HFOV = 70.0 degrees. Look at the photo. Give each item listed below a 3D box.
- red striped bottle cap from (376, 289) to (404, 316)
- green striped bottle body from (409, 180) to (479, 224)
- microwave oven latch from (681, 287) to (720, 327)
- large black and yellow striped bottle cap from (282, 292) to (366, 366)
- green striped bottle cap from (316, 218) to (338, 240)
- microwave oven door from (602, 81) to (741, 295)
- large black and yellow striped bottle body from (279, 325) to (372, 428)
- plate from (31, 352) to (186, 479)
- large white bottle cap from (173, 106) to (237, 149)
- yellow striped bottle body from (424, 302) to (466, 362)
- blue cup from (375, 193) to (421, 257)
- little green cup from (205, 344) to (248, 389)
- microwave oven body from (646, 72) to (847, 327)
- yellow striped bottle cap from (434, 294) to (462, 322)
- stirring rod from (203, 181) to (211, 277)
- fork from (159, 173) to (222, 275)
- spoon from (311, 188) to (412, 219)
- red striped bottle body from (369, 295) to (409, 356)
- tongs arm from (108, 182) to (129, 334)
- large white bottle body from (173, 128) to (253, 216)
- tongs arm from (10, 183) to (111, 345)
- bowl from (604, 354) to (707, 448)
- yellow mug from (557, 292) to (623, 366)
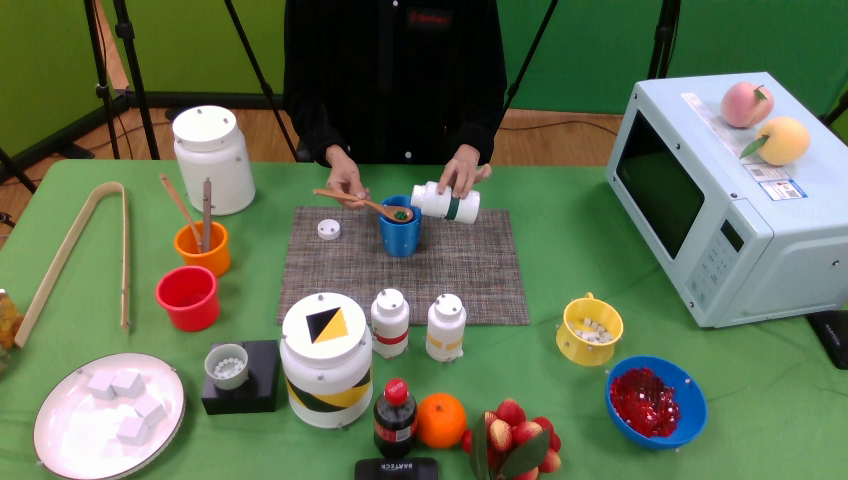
[{"bbox_3d":[-0.055,0.098,0.958,0.044,0.018,0.044,0,48,0],"label":"red striped bottle cap"},{"bbox_3d":[0.035,-0.071,1.096,0.119,0.063,0.063,12,45,-8],"label":"green striped bottle body"},{"bbox_3d":[0.494,0.119,1.087,0.030,0.029,0.078,-5,46,-9],"label":"microwave oven latch"},{"bbox_3d":[-0.138,0.121,0.841,0.115,0.019,0.114,3,47,-3],"label":"large black and yellow striped bottle cap"},{"bbox_3d":[-0.192,-0.022,1.204,0.044,0.020,0.044,2,50,-2],"label":"green striped bottle cap"},{"bbox_3d":[0.456,-0.107,1.162,0.039,0.245,0.353,-7,47,-11],"label":"microwave oven door"},{"bbox_3d":[-0.143,0.181,0.900,0.131,0.185,0.130,2,46,-2],"label":"large black and yellow striped bottle body"},{"bbox_3d":[-0.459,0.262,0.898,0.209,0.038,0.208,2,46,-2],"label":"plate"},{"bbox_3d":[-0.411,-0.212,1.138,0.115,0.018,0.114,2,47,-2],"label":"large white bottle cap"},{"bbox_3d":[0.035,0.143,0.995,0.063,0.121,0.062,3,46,-3],"label":"yellow striped bottle body"},{"bbox_3d":[-0.049,-0.022,1.155,0.093,0.101,0.092,1,47,-1],"label":"blue cup"},{"bbox_3d":[-0.294,0.191,0.909,0.061,0.039,0.061,1,47,-1],"label":"little green cup"},{"bbox_3d":[0.607,-0.089,1.164,0.326,0.261,0.438,-7,46,-10],"label":"microwave oven body"},{"bbox_3d":[0.038,0.107,0.958,0.044,0.019,0.044,2,45,-2],"label":"yellow striped bottle cap"},{"bbox_3d":[-0.396,-0.021,1.108,0.014,0.006,0.176,-1,89,-2],"label":"stirring rod"},{"bbox_3d":[-0.427,-0.029,1.103,0.028,0.018,0.207,-31,99,-30],"label":"fork"},{"bbox_3d":[-0.111,-0.067,1.094,0.194,0.022,0.041,18,42,-26],"label":"spoon"},{"bbox_3d":[-0.059,0.134,0.997,0.063,0.120,0.062,5,48,-5],"label":"red striped bottle body"},{"bbox_3d":[-0.571,0.019,1.123,0.051,0.026,0.382,-10,47,-12],"label":"tongs arm"},{"bbox_3d":[-0.416,-0.154,1.199,0.131,0.185,0.130,2,46,-2],"label":"large white bottle body"},{"bbox_3d":[-0.658,0.027,1.109,0.028,0.028,0.385,-2,45,2],"label":"tongs arm"},{"bbox_3d":[0.346,0.261,0.937,0.151,0.077,0.150,2,46,-2],"label":"bowl"},{"bbox_3d":[0.285,0.145,1.051,0.100,0.064,0.130,7,45,4],"label":"yellow mug"}]
